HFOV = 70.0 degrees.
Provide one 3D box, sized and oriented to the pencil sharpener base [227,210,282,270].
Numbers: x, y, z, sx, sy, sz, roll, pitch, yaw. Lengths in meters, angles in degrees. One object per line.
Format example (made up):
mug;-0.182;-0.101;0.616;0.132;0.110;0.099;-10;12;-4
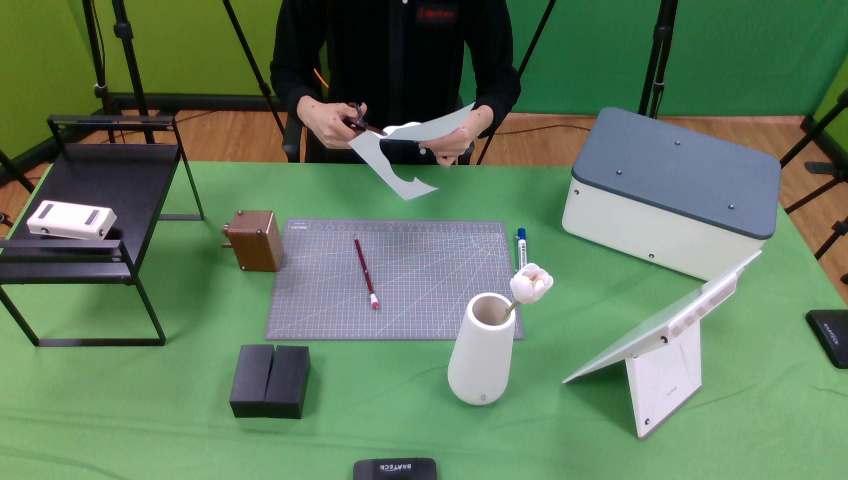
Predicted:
pencil sharpener base;-0.311;0.001;1.112;0.077;0.107;0.061;1;47;1

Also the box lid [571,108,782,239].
box lid;0.491;-0.139;1.168;0.370;0.015;0.262;20;49;15

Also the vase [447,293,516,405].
vase;0.091;0.169;0.921;0.098;0.201;0.097;3;47;-3

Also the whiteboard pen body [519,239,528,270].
whiteboard pen body;0.193;0.035;1.181;0.017;0.017;0.140;6;48;1

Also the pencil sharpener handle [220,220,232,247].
pencil sharpener handle;-0.362;-0.009;1.105;0.030;0.068;0.036;1;52;1

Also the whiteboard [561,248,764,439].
whiteboard;0.386;0.176;0.905;0.217;0.306;0.143;-26;72;-27

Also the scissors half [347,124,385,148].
scissors half;-0.102;-0.184;1.059;0.013;0.040;0.174;-8;9;-25

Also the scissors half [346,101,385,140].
scissors half;-0.102;-0.204;1.052;0.013;0.040;0.174;-13;35;-23

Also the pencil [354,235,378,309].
pencil;-0.113;0.055;1.143;0.012;0.012;0.192;-10;46;-13

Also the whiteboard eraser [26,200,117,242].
whiteboard eraser;-0.532;-0.026;0.919;0.113;0.042;0.055;7;45;3

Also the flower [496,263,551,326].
flower;0.102;0.121;0.853;0.044;0.363;0.038;-2;64;-10

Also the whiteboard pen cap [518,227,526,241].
whiteboard pen cap;0.197;-0.009;1.220;0.018;0.018;0.033;5;51;0

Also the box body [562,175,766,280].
box body;0.486;-0.088;1.222;0.363;0.161;0.253;20;48;15
